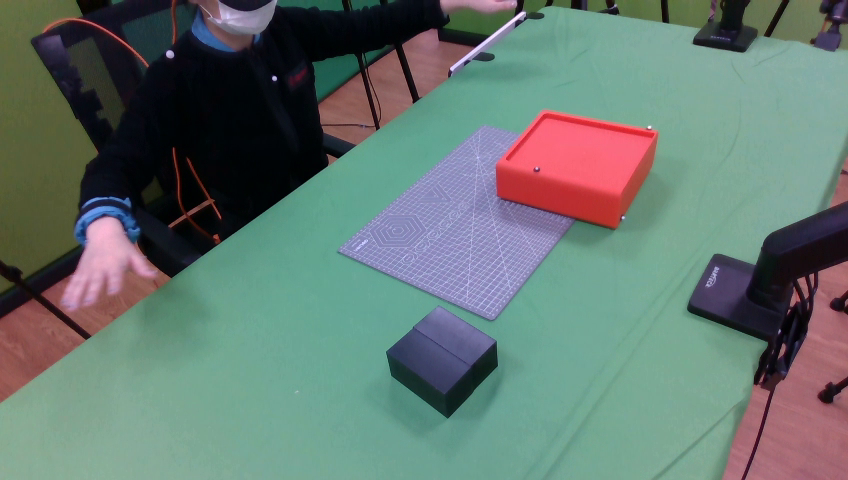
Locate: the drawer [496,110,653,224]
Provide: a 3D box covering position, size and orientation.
[{"bbox_3d":[0.257,-0.130,1.032,0.210,0.073,0.195,18,46,26],"label":"drawer"}]

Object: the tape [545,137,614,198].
[{"bbox_3d":[0.264,-0.125,1.036,0.117,0.053,0.116,-4,40,4],"label":"tape"}]

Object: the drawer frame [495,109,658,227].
[{"bbox_3d":[0.260,-0.130,1.031,0.212,0.083,0.202,18,46,26],"label":"drawer frame"}]
